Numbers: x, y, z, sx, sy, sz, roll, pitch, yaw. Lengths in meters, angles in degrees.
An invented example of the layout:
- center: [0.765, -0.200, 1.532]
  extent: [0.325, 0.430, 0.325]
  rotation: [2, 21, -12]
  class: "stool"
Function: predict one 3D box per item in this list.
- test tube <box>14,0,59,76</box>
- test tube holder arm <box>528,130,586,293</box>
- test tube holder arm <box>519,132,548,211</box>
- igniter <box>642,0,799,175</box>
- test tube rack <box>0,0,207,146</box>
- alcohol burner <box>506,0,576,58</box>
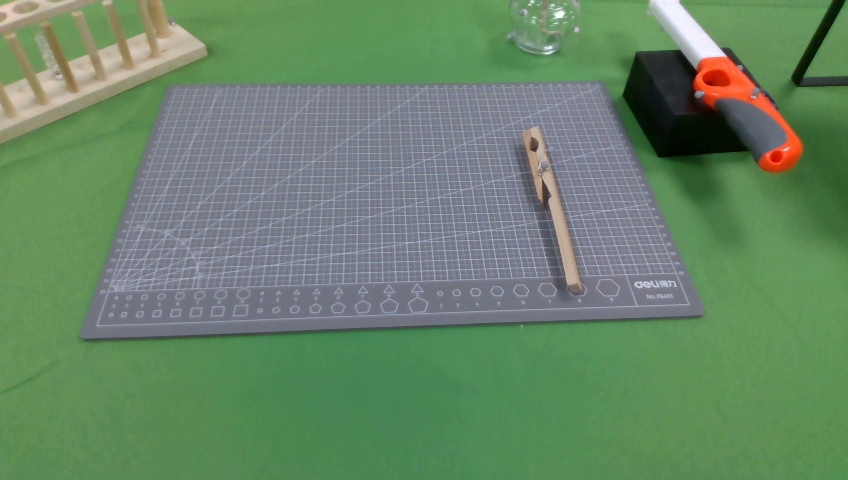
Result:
- center: [-0.359, -0.215, 0.542]
  extent: [0.017, 0.151, 0.017]
  rotation: [3, 46, -3]
  class: "test tube"
- center: [0.109, -0.030, 0.511]
  extent: [0.013, 0.015, 0.176]
  rotation: [-27, 46, 21]
  class: "test tube holder arm"
- center: [0.100, -0.062, 0.541]
  extent: [0.010, 0.015, 0.087]
  rotation: [-26, 47, 22]
  class: "test tube holder arm"
- center: [0.267, -0.154, 0.563]
  extent: [0.057, 0.025, 0.273]
  rotation: [-5, 47, -4]
  class: "igniter"
- center: [-0.341, -0.178, 0.577]
  extent: [0.242, 0.086, 0.066]
  rotation: [-36, 59, -29]
  class: "test tube rack"
- center: [0.129, -0.260, 0.654]
  extent: [0.078, 0.120, 0.077]
  rotation: [1, 51, -1]
  class: "alcohol burner"
